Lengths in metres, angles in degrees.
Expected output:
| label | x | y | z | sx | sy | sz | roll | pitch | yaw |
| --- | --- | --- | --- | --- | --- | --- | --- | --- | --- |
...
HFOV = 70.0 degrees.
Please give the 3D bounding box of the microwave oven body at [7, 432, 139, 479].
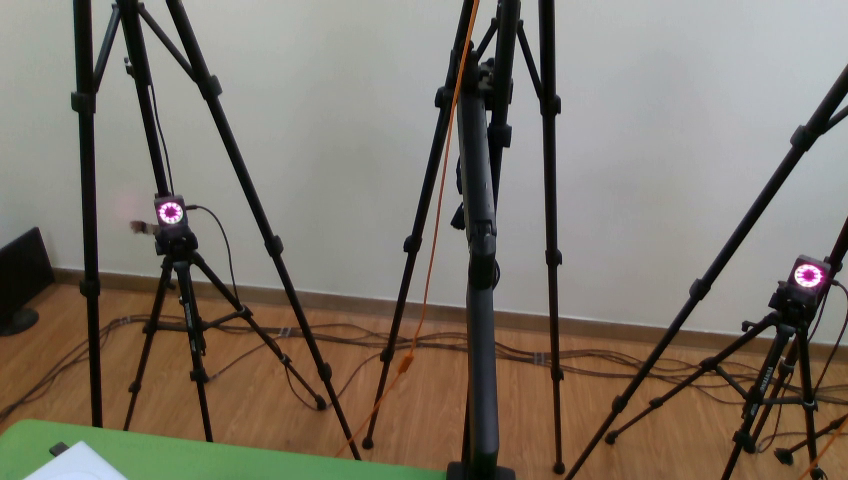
| label | x | y | z | sx | sy | sz | roll | pitch | yaw |
| --- | --- | --- | --- | --- | --- | --- | --- | --- | --- |
| microwave oven body | -0.460 | 0.488 | 0.644 | 0.323 | 0.262 | 0.441 | 22 | 38 | 27 |
